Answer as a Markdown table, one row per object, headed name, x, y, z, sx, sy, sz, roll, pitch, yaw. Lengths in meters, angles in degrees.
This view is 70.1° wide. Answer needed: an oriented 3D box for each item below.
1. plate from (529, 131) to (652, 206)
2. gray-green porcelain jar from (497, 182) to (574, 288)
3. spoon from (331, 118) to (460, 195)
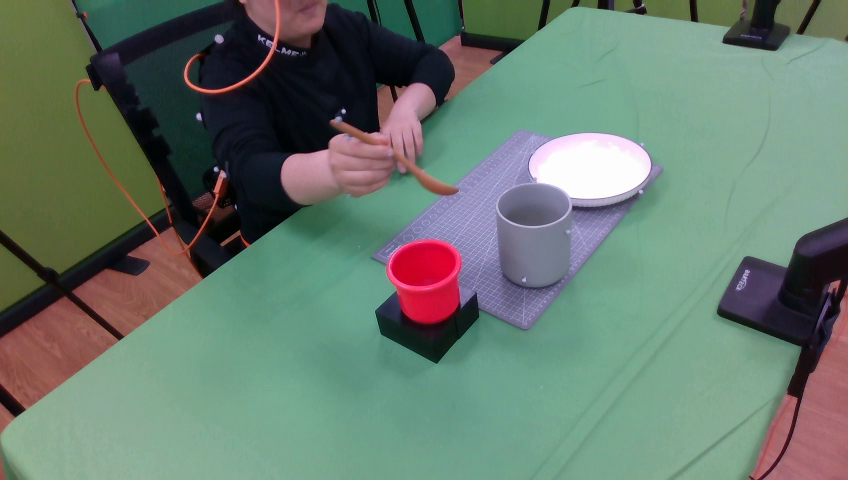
| name | x | y | z | sx | sy | sz | roll | pitch | yaw |
| --- | --- | --- | --- | --- | --- | --- | --- | --- | --- |
| plate | 0.287 | -0.122 | 1.055 | 0.207 | 0.039 | 0.206 | -5 | 40 | 5 |
| gray-green porcelain jar | 0.160 | -0.003 | 0.869 | 0.106 | 0.127 | 0.105 | -5 | 40 | 5 |
| spoon | -0.030 | -0.098 | 0.725 | 0.041 | 0.195 | 0.021 | 2 | 67 | 54 |
